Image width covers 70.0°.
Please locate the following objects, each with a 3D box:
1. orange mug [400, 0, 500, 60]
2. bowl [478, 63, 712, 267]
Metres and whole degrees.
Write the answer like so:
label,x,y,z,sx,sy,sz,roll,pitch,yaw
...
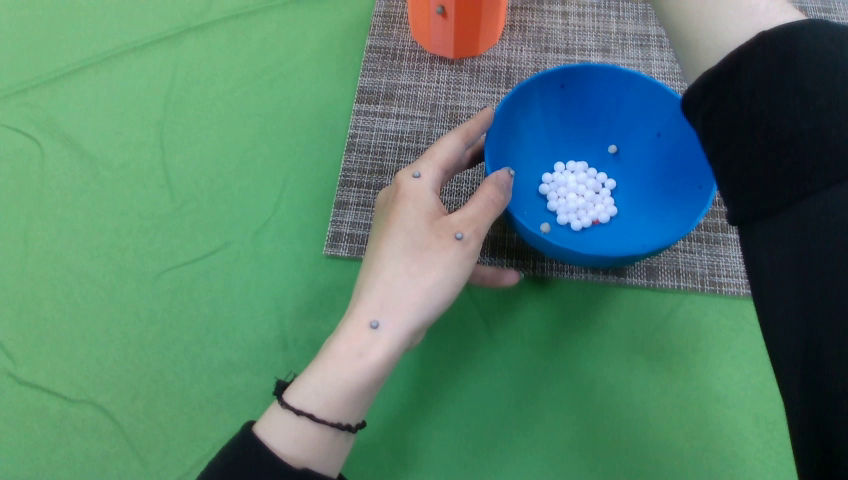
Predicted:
label,x,y,z,sx,sy,sz,roll,pitch,yaw
orange mug,0.027,-0.232,0.507,0.083,0.101,0.125,16,70,9
bowl,0.110,-0.040,0.425,0.151,0.077,0.150,0,64,0
